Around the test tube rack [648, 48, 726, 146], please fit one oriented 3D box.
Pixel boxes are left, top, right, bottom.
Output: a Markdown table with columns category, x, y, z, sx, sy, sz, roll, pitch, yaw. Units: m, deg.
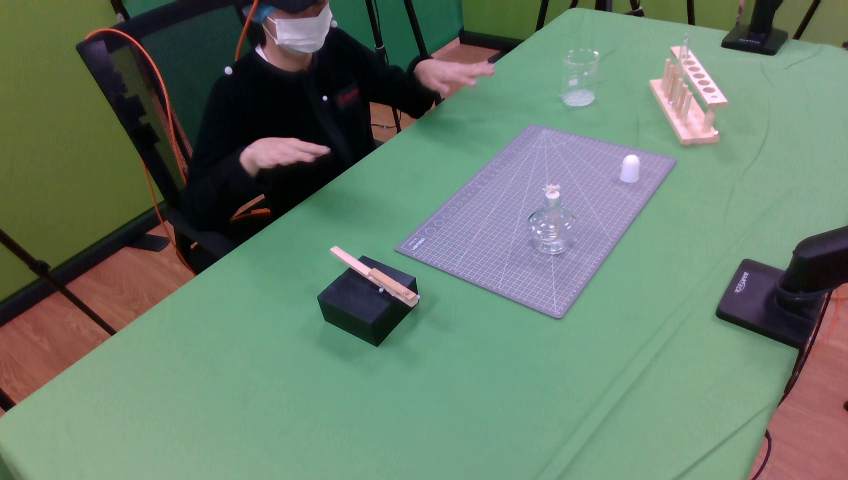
| category | x | y | z | sx | sy | sz | roll | pitch | yaw |
| --- | --- | --- | --- | --- | --- | --- | --- | --- | --- |
| test tube rack | 0.509 | -0.285 | 1.186 | 0.067 | 0.085 | 0.241 | -4 | 40 | 6 |

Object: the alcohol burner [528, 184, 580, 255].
| category | x | y | z | sx | sy | sz | roll | pitch | yaw |
| --- | --- | --- | --- | --- | --- | --- | --- | --- | --- |
| alcohol burner | 0.196 | -0.035 | 0.911 | 0.078 | 0.119 | 0.077 | -6 | 41 | 5 |

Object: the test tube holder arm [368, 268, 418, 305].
| category | x | y | z | sx | sy | sz | roll | pitch | yaw |
| --- | --- | --- | --- | --- | --- | --- | --- | --- | --- |
| test tube holder arm | -0.043 | 0.063 | 0.827 | 0.015 | 0.010 | 0.087 | -37 | 47 | -29 |

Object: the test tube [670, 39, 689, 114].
| category | x | y | z | sx | sy | sz | roll | pitch | yaw |
| --- | --- | --- | --- | --- | --- | --- | --- | --- | --- |
| test tube | 0.484 | -0.308 | 1.146 | 0.017 | 0.151 | 0.017 | -5 | 41 | 5 |

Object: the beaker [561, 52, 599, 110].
| category | x | y | z | sx | sy | sz | roll | pitch | yaw |
| --- | --- | --- | --- | --- | --- | --- | --- | --- | --- |
| beaker | 0.325 | -0.331 | 1.260 | 0.084 | 0.101 | 0.073 | -20 | 42 | -15 |

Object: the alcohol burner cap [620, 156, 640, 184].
| category | x | y | z | sx | sy | sz | roll | pitch | yaw |
| --- | --- | --- | --- | --- | --- | --- | --- | --- | --- |
| alcohol burner cap | 0.358 | -0.124 | 1.047 | 0.034 | 0.048 | 0.033 | -4 | 40 | 4 |

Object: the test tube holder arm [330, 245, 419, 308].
| category | x | y | z | sx | sy | sz | roll | pitch | yaw |
| --- | --- | --- | --- | --- | --- | --- | --- | --- | --- |
| test tube holder arm | -0.074 | 0.049 | 0.857 | 0.177 | 0.013 | 0.015 | 30 | 53 | 36 |
